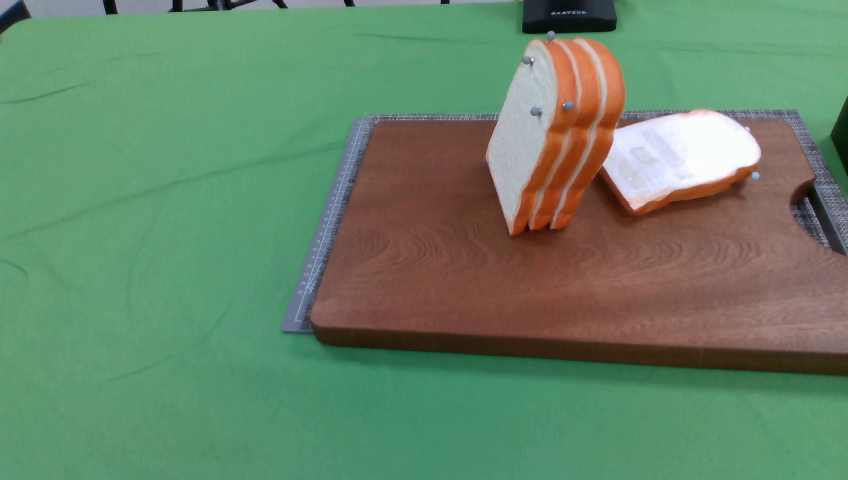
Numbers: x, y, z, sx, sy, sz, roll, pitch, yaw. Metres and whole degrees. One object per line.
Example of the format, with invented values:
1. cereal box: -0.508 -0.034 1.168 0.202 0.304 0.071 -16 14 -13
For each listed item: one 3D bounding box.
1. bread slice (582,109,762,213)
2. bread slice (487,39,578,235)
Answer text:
1. bread slice: 0.218 -0.073 0.525 0.131 0.019 0.103 -15 44 -2
2. bread slice: 0.085 -0.089 0.487 0.018 0.135 0.106 3 42 -14
